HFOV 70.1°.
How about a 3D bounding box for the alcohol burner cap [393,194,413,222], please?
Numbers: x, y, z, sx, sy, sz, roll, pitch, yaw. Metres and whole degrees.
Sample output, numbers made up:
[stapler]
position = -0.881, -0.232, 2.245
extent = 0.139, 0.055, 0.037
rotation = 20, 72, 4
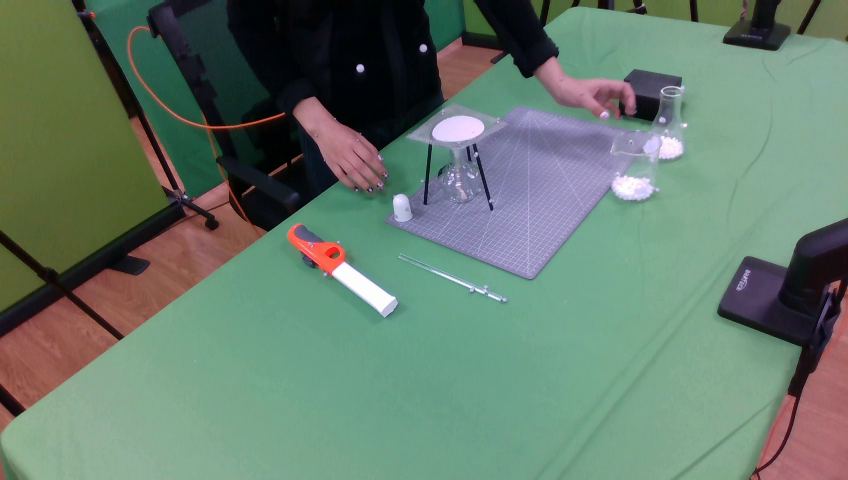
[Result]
[alcohol burner cap]
position = -0.039, -0.057, 1.038
extent = 0.034, 0.048, 0.033
rotation = -5, 40, 5

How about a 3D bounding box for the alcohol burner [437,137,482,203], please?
[alcohol burner]
position = 0.060, -0.125, 1.045
extent = 0.078, 0.119, 0.077
rotation = -5, 39, 4

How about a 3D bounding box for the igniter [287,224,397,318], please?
[igniter]
position = -0.139, 0.042, 0.958
extent = 0.057, 0.025, 0.274
rotation = -42, 49, -19

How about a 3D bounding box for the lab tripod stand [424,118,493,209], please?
[lab tripod stand]
position = 0.061, -0.133, 1.038
extent = 0.148, 0.132, 0.147
rotation = -6, 38, 6

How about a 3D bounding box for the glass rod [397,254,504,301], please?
[glass rod]
position = 0.036, 0.054, 0.922
extent = 0.198, 0.008, 0.008
rotation = 22, 50, 31

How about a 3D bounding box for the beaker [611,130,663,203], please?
[beaker]
position = 0.346, -0.118, 0.998
extent = 0.084, 0.101, 0.073
rotation = -17, 40, -7

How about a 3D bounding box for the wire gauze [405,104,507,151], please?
[wire gauze]
position = 0.053, -0.184, 0.996
extent = 0.120, 0.011, 0.125
rotation = 26, 50, 37

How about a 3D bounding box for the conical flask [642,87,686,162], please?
[conical flask]
position = 0.429, -0.206, 1.067
extent = 0.075, 0.122, 0.075
rotation = -6, 40, 6
